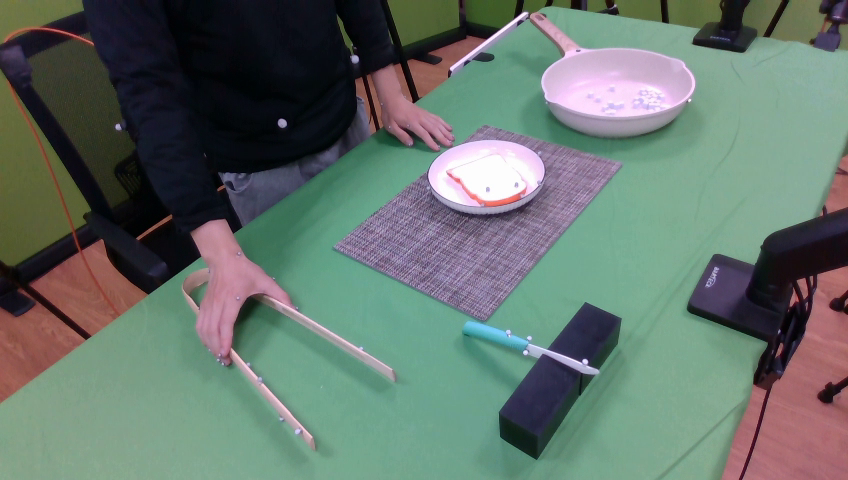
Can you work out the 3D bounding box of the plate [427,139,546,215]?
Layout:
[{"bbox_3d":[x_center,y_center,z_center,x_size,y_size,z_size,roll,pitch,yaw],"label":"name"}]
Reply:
[{"bbox_3d":[0.109,-0.106,1.058,0.207,0.039,0.206,-4,40,4],"label":"plate"}]

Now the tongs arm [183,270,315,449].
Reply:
[{"bbox_3d":[-0.242,0.146,0.822,0.051,0.026,0.381,-34,46,-29],"label":"tongs arm"}]

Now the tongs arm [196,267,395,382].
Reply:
[{"bbox_3d":[-0.193,0.112,0.859,0.384,0.028,0.028,22,51,30],"label":"tongs arm"}]

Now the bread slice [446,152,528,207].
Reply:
[{"bbox_3d":[0.117,-0.104,1.057,0.107,0.018,0.133,-24,42,-18],"label":"bread slice"}]

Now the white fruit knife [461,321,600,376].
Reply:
[{"bbox_3d":[0.126,0.133,0.752,0.205,0.027,0.016,13,44,42],"label":"white fruit knife"}]

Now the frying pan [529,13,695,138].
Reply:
[{"bbox_3d":[0.348,-0.368,1.281,0.308,0.103,0.484,-16,50,-12],"label":"frying pan"}]
